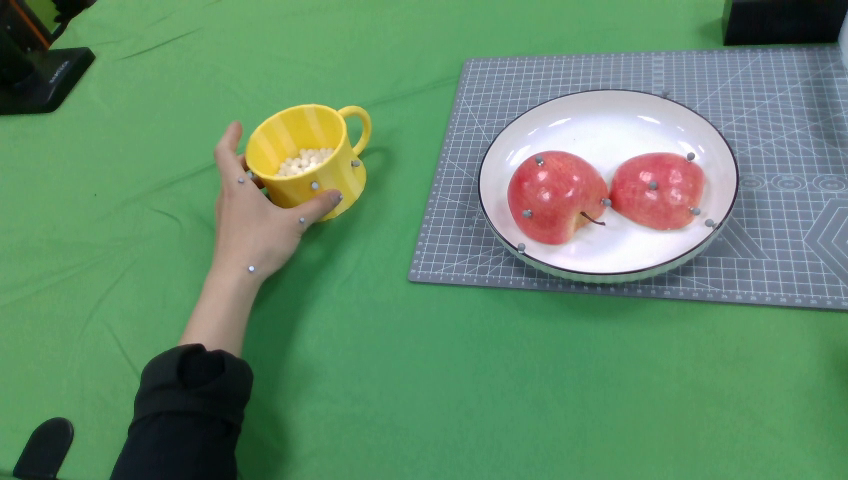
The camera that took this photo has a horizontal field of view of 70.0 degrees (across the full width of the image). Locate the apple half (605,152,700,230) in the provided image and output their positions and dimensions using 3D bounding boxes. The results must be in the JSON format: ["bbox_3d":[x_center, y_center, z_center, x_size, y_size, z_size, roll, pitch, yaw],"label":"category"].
[{"bbox_3d":[0.188,-0.049,0.500,0.081,0.033,0.080,-6,55,10],"label":"apple half"}]

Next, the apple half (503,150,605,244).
[{"bbox_3d":[0.106,-0.044,0.505,0.081,0.054,0.074,-33,50,-10],"label":"apple half"}]

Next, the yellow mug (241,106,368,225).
[{"bbox_3d":[-0.106,-0.083,0.593,0.130,0.064,0.099,-42,56,-18],"label":"yellow mug"}]

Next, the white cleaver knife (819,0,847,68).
[{"bbox_3d":[0.389,-0.198,0.552,0.021,0.066,0.284,0,50,20],"label":"white cleaver knife"}]

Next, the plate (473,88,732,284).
[{"bbox_3d":[0.146,-0.047,0.518,0.209,0.038,0.207,-7,53,9],"label":"plate"}]
